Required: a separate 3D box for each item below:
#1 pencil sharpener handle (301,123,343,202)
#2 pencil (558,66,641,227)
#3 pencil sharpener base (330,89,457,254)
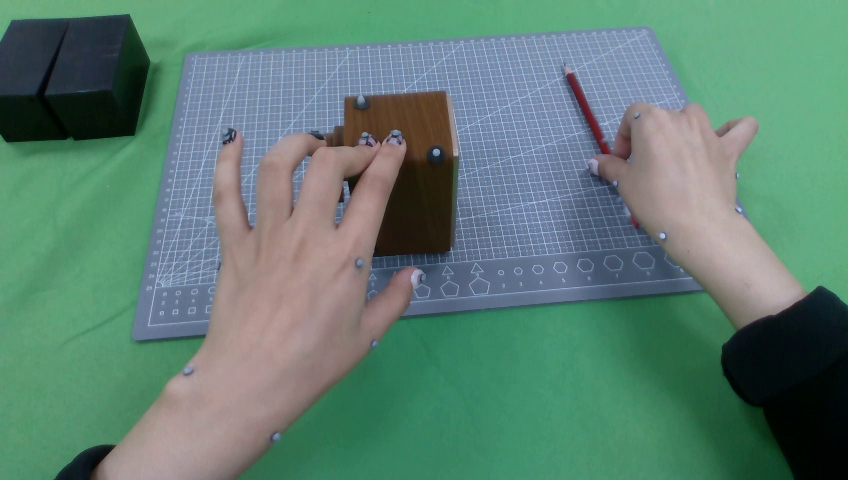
[{"bbox_3d":[-0.071,-0.047,0.403,0.031,0.068,0.035,-4,58,-2],"label":"pencil sharpener handle"},{"bbox_3d":[0.142,-0.087,0.509,0.012,0.012,0.192,-8,54,-6],"label":"pencil"},{"bbox_3d":[-0.020,-0.043,0.415,0.077,0.108,0.061,-4,55,-2],"label":"pencil sharpener base"}]
